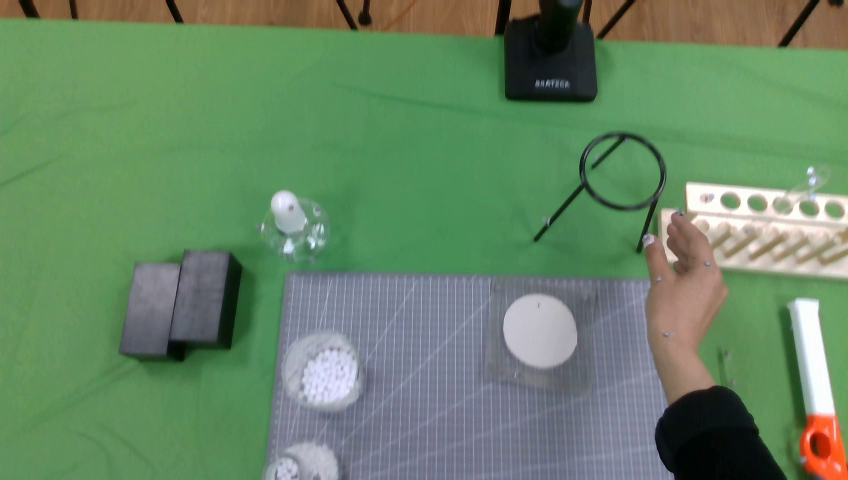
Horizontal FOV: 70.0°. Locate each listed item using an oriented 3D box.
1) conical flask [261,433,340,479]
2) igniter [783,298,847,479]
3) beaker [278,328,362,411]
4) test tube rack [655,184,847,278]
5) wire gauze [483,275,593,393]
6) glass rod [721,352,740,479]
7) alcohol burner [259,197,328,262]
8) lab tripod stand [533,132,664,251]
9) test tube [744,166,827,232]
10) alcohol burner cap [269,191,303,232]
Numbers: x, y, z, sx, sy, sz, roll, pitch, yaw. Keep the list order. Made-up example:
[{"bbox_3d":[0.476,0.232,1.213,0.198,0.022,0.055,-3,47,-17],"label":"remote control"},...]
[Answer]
[{"bbox_3d":[-0.124,0.223,0.585,0.075,0.122,0.075,1,70,-1],"label":"conical flask"},{"bbox_3d":[0.432,0.198,0.663,0.057,0.025,0.274,6,70,-9],"label":"igniter"},{"bbox_3d":[-0.100,0.139,0.627,0.083,0.101,0.074,36,73,10],"label":"beaker"},{"bbox_3d":[0.405,-0.008,0.704,0.242,0.085,0.066,5,70,0],"label":"test tube rack"},{"bbox_3d":[0.132,0.105,0.695,0.125,0.011,0.120,10,70,-1],"label":"wire gauze"},{"bbox_3d":[0.338,0.222,0.661,0.008,0.008,0.198,3,72,-1],"label":"glass rod"},{"bbox_3d":[-0.149,-0.019,0.678,0.078,0.120,0.077,0,71,1],"label":"alcohol burner"},{"bbox_3d":[0.201,-0.049,0.688,0.148,0.132,0.147,0,72,-1],"label":"lab tripod stand"},{"bbox_3d":[0.391,-0.040,0.663,0.017,0.151,0.017,0,70,1],"label":"test tube"},{"bbox_3d":[-0.149,-0.033,0.645,0.034,0.048,0.033,1,64,-2],"label":"alcohol burner cap"}]
